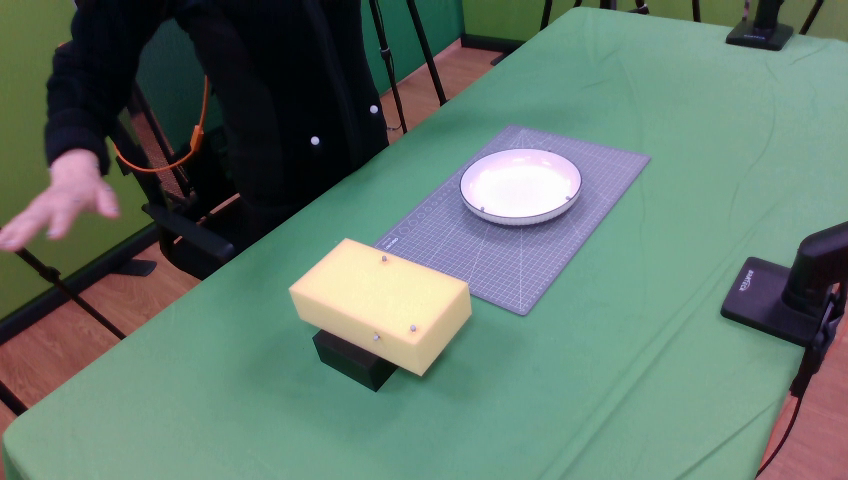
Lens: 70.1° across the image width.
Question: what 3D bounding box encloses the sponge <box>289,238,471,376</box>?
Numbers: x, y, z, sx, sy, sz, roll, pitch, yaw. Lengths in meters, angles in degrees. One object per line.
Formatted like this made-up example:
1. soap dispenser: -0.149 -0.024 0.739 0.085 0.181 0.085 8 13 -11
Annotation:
1. sponge: -0.057 0.081 0.794 0.205 0.061 0.118 19 48 29

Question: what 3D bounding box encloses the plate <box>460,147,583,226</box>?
1. plate: 0.166 -0.089 1.043 0.209 0.038 0.208 -5 40 5
